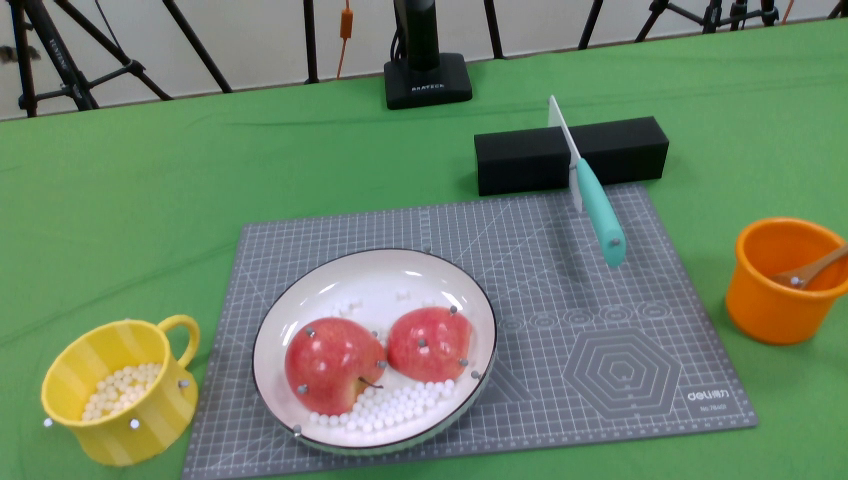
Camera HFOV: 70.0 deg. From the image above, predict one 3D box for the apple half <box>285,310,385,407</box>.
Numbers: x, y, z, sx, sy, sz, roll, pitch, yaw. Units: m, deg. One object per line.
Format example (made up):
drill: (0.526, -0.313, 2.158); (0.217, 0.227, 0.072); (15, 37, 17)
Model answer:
apple half: (-0.077, 0.089, 0.503); (0.074, 0.054, 0.081); (29, 55, 34)

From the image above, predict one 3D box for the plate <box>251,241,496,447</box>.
plate: (-0.042, 0.086, 0.525); (0.209, 0.038, 0.207); (-3, 45, 4)

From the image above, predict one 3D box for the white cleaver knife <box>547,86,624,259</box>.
white cleaver knife: (0.163, -0.077, 0.644); (0.021, 0.066, 0.283); (-9, 40, 5)

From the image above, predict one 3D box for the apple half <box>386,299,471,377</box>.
apple half: (0.002, 0.076, 0.520); (0.081, 0.033, 0.080); (-3, 47, 4)

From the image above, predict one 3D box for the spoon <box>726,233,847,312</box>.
spoon: (0.337, 0.005, 0.486); (0.022, 0.194, 0.041); (29, 39, -28)

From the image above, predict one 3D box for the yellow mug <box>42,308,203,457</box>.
yellow mug: (-0.239, 0.108, 0.510); (0.099, 0.064, 0.130); (20, 50, 25)
